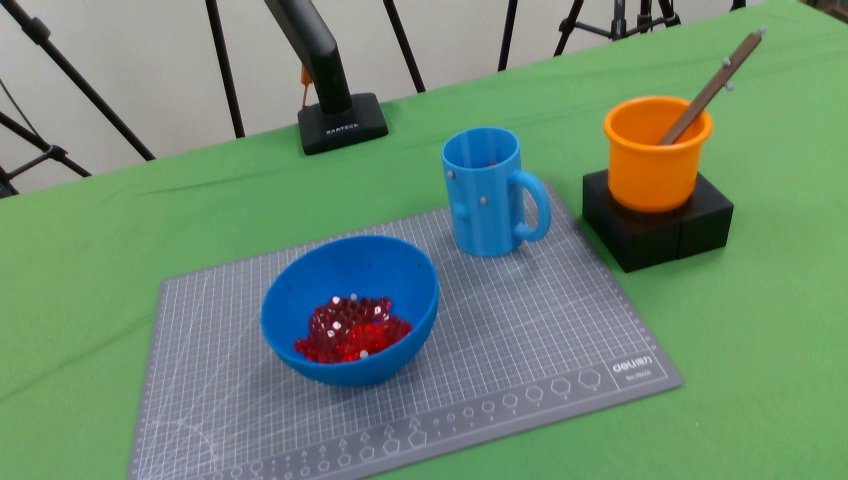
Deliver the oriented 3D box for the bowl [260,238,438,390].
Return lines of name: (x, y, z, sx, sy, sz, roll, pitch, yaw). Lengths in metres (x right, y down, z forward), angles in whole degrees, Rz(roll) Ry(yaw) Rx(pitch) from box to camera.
bowl: (-0.057, 0.076, 0.525, 0.151, 0.077, 0.150, -6, 40, 6)

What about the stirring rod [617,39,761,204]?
stirring rod: (0.235, -0.103, 0.545, 0.176, 0.006, 0.014, -53, 37, 17)

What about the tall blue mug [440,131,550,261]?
tall blue mug: (0.076, -0.042, 0.607, 0.107, 0.109, 0.077, 3, 42, 17)
